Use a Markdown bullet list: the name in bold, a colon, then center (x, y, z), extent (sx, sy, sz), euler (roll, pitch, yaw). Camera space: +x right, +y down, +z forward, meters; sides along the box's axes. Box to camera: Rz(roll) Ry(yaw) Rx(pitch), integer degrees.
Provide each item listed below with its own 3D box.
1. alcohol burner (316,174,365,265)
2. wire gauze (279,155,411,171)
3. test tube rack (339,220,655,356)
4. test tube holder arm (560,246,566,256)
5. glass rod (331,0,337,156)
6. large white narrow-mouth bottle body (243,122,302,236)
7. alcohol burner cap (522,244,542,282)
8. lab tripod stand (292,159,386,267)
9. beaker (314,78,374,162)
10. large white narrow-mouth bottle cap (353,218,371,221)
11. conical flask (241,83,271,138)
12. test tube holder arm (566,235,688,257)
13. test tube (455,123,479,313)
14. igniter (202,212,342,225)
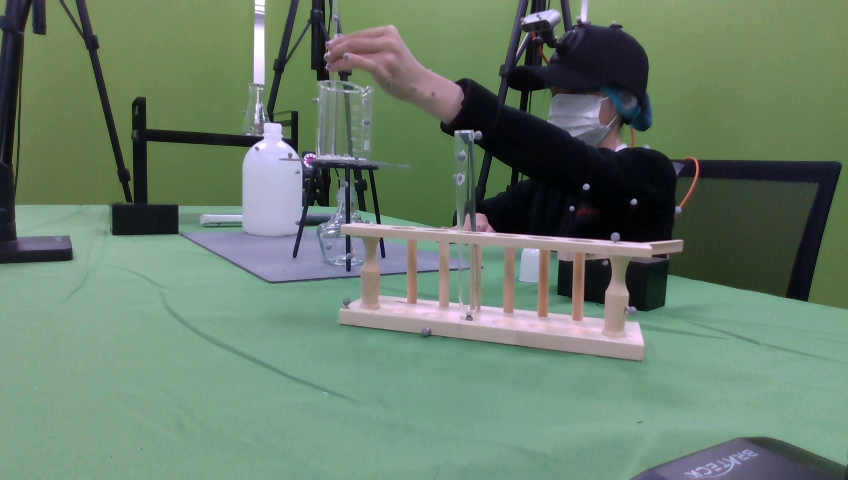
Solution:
- **alcohol burner**: center (-0.102, -0.028, 0.790), extent (0.078, 0.119, 0.078), euler (0, 6, 0)
- **wire gauze**: center (-0.103, -0.103, 0.785), extent (0.121, 0.011, 0.126), euler (11, 8, 42)
- **test tube rack**: center (0.056, 0.032, 0.495), extent (0.242, 0.085, 0.067), euler (4, 7, 15)
- **test tube holder arm**: center (0.173, 0.007, 0.611), extent (0.088, 0.015, 0.010), euler (-3, 10, -29)
- **glass rod**: center (-0.112, -0.204, 0.754), extent (0.008, 0.199, 0.008), euler (2, 14, 0)
- **large white narrow-mouth bottle body**: center (-0.264, -0.109, 1.061), extent (0.102, 0.194, 0.102), euler (2, 8, 0)
- **alcohol burner cap**: center (0.136, 0.026, 0.740), extent (0.034, 0.048, 0.034), euler (0, 6, 0)
- **lab tripod stand**: center (-0.105, -0.039, 0.797), extent (0.148, 0.131, 0.148), euler (2, 5, 0)
- **beaker**: center (-0.101, -0.150, 0.773), extent (0.074, 0.100, 0.083), euler (-2, 8, -40)
- **large white narrow-mouth bottle cap**: center (-0.121, -0.029, 1.184), extent (0.038, 0.024, 0.037), euler (2, 8, 0)
- **conical flask**: center (-0.384, -0.297, 1.393), extent (0.075, 0.122, 0.075), euler (2, 7, 0)
- **test tube holder arm**: center (0.215, 0.006, 0.629), extent (0.179, 0.015, 0.013), euler (-3, 10, -30)
- **test tube**: center (0.034, -0.016, 0.476), extent (0.017, 0.150, 0.017), euler (-2, 9, 1)
- **igniter**: center (-0.298, -0.043, 1.216), extent (0.278, 0.025, 0.057), euler (-3, -2, -32)
